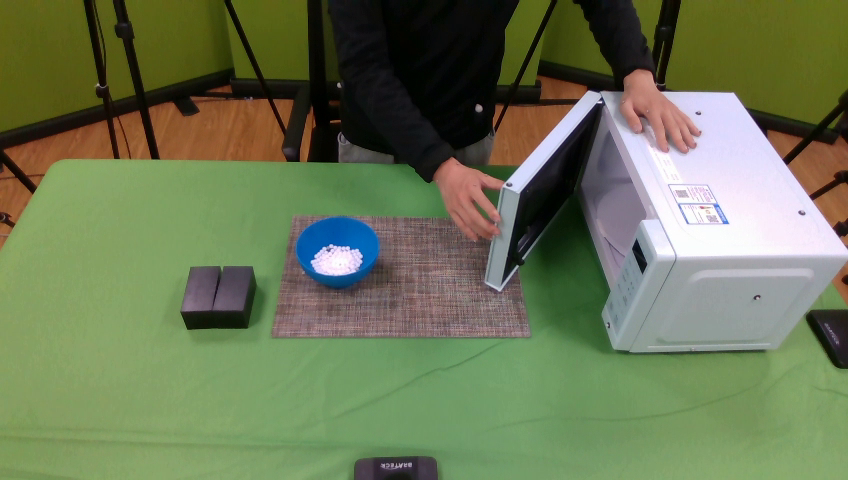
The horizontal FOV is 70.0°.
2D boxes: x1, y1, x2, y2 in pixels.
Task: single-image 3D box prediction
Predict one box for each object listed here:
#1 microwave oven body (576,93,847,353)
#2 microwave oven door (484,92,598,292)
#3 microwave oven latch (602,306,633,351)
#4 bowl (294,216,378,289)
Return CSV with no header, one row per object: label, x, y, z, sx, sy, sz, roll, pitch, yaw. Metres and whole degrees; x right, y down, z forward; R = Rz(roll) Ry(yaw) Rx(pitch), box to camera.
microwave oven body,0.475,-0.041,1.109,0.326,0.261,0.438,-1,45,-4
microwave oven door,0.226,-0.097,1.138,0.039,0.245,0.355,27,50,20
microwave oven latch,0.332,0.153,1.044,0.030,0.029,0.078,0,45,-3
bowl,-0.158,0.036,1.110,0.151,0.077,0.150,3,45,-2
